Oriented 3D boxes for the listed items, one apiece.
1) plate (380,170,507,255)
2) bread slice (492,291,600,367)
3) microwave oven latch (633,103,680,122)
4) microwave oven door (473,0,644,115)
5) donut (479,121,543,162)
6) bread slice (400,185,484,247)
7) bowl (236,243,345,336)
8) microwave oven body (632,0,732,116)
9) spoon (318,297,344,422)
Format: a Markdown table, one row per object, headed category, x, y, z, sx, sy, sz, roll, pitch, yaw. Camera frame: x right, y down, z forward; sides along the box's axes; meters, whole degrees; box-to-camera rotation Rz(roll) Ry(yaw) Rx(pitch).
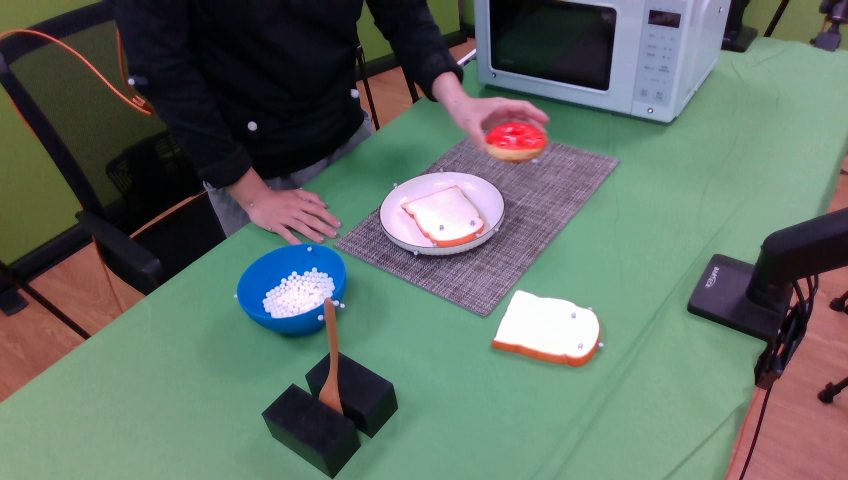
| category | x | y | z | sx | sy | sz | roll | pitch | yaw |
| --- | --- | --- | --- | --- | --- | --- | --- | --- | --- |
| plate | 0.033 | -0.042 | 0.995 | 0.207 | 0.039 | 0.206 | -4 | 40 | 4 |
| bread slice | 0.169 | 0.118 | 0.811 | 0.131 | 0.019 | 0.105 | 11 | 45 | 22 |
| microwave oven latch | 0.443 | -0.249 | 1.157 | 0.078 | 0.029 | 0.030 | 20 | 48 | 29 |
| microwave oven door | 0.257 | -0.396 | 1.199 | 0.353 | 0.245 | 0.039 | 21 | 48 | 29 |
| donut | 0.136 | -0.154 | 0.945 | 0.099 | 0.048 | 0.098 | -2 | 31 | 2 |
| bread slice | 0.037 | -0.038 | 0.990 | 0.107 | 0.018 | 0.133 | -23 | 43 | -17 |
| bowl | -0.180 | 0.082 | 0.855 | 0.151 | 0.077 | 0.150 | -4 | 41 | 4 |
| microwave oven body | 0.377 | -0.463 | 1.267 | 0.438 | 0.261 | 0.327 | 21 | 49 | 30 |
| spoon | -0.107 | 0.139 | 0.687 | 0.041 | 0.194 | 0.022 | 27 | 37 | 31 |
